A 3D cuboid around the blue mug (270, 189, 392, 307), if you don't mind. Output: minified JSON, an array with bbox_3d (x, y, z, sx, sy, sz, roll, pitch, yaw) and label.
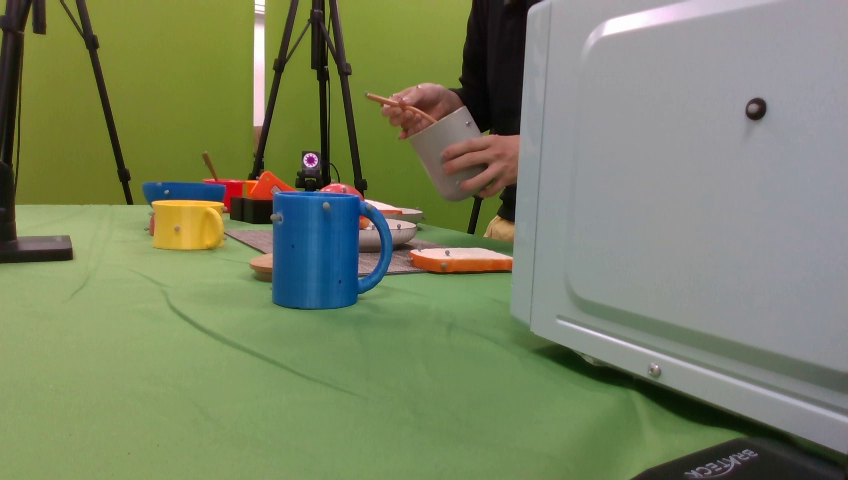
[{"bbox_3d":[-0.090,0.005,0.588,0.117,0.106,0.082,1,7,-11],"label":"blue mug"}]

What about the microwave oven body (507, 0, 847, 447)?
[{"bbox_3d":[0.331,-0.042,0.425,0.444,0.260,0.324,-2,8,-31],"label":"microwave oven body"}]

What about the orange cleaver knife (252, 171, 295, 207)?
[{"bbox_3d":[-0.283,-0.087,1.343,0.212,0.077,0.012,24,-16,-41],"label":"orange cleaver knife"}]

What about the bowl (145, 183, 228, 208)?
[{"bbox_3d":[-0.459,-0.069,1.175,0.151,0.077,0.151,3,7,0],"label":"bowl"}]

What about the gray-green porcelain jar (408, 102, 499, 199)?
[{"bbox_3d":[0.052,-0.138,0.961,0.106,0.126,0.106,-30,10,6],"label":"gray-green porcelain jar"}]

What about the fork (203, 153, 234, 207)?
[{"bbox_3d":[-0.480,-0.135,1.411,0.028,0.018,0.207,1,-34,0],"label":"fork"}]

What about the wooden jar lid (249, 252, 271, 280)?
[{"bbox_3d":[-0.148,0.028,0.708,0.108,0.020,0.108,-1,10,0],"label":"wooden jar lid"}]

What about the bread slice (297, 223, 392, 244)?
[{"bbox_3d":[-0.121,-0.013,0.970,0.106,0.018,0.135,9,12,41],"label":"bread slice"}]

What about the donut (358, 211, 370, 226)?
[{"bbox_3d":[-0.132,-0.042,0.959,0.099,0.048,0.099,2,7,0],"label":"donut"}]

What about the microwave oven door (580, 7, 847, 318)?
[{"bbox_3d":[0.295,-0.067,0.570,0.358,0.243,0.039,-3,9,-31],"label":"microwave oven door"}]

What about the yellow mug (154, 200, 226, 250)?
[{"bbox_3d":[-0.337,-0.022,0.899,0.130,0.064,0.100,8,9,34],"label":"yellow mug"}]

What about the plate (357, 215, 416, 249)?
[{"bbox_3d":[-0.116,-0.014,0.967,0.208,0.039,0.207,2,7,0],"label":"plate"}]

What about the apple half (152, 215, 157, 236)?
[{"bbox_3d":[-0.415,-0.034,1.017,0.081,0.053,0.074,1,10,-9],"label":"apple half"}]

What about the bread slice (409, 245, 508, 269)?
[{"bbox_3d":[0.048,0.021,0.816,0.132,0.019,0.104,-1,7,-24],"label":"bread slice"}]

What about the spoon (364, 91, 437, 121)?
[{"bbox_3d":[-0.007,-0.204,0.963,0.193,0.021,0.042,25,8,9],"label":"spoon"}]

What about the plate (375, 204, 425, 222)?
[{"bbox_3d":[-0.102,-0.053,1.299,0.209,0.038,0.209,2,8,0],"label":"plate"}]

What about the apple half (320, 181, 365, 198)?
[{"bbox_3d":[-0.130,-0.077,0.952,0.081,0.033,0.081,4,14,-1],"label":"apple half"}]

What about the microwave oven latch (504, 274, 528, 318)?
[{"bbox_3d":[0.100,0.041,0.471,0.079,0.029,0.030,-1,7,-28],"label":"microwave oven latch"}]
